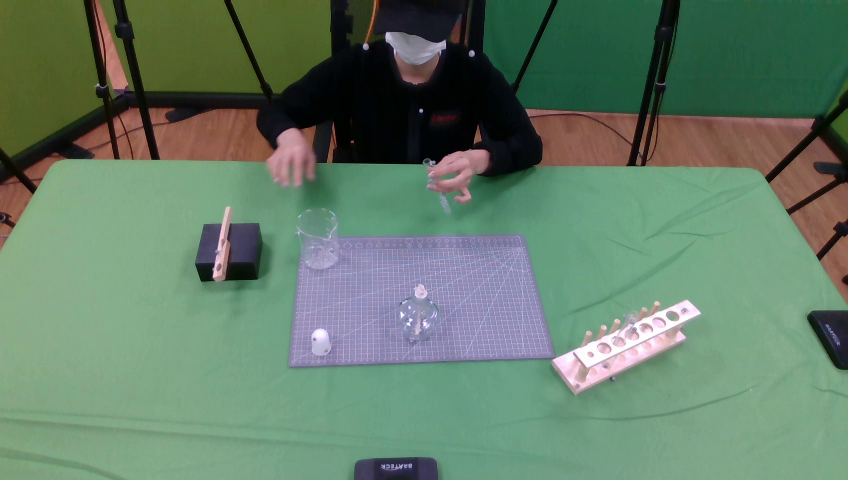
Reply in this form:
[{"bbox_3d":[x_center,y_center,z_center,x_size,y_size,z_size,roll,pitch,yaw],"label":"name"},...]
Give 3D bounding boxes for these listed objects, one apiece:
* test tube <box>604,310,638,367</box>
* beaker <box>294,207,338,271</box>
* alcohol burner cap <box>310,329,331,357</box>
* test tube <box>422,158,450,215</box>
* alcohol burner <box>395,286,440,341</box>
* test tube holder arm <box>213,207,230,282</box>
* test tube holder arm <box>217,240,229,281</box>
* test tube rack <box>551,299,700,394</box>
[{"bbox_3d":[0.310,0.158,0.957,0.017,0.151,0.017,1,49,-1],"label":"test tube"},{"bbox_3d":[-0.196,0.003,1.123,0.074,0.101,0.083,-23,53,-24],"label":"beaker"},{"bbox_3d":[-0.173,0.168,1.004,0.034,0.048,0.033,2,46,-2],"label":"alcohol burner cap"},{"bbox_3d":[0.024,-0.100,1.164,0.017,0.151,0.017,-11,49,13],"label":"test tube"},{"bbox_3d":[-0.010,0.116,1.018,0.078,0.119,0.077,3,47,-3],"label":"alcohol burner"},{"bbox_3d":[-0.366,0.004,1.101,0.013,0.015,0.177,-10,47,-2],"label":"test tube holder arm"},{"bbox_3d":[-0.355,0.035,1.070,0.010,0.015,0.087,-9,47,-1],"label":"test tube holder arm"},{"bbox_3d":[0.339,0.166,1.021,0.242,0.085,0.066,-19,50,-21],"label":"test tube rack"}]
